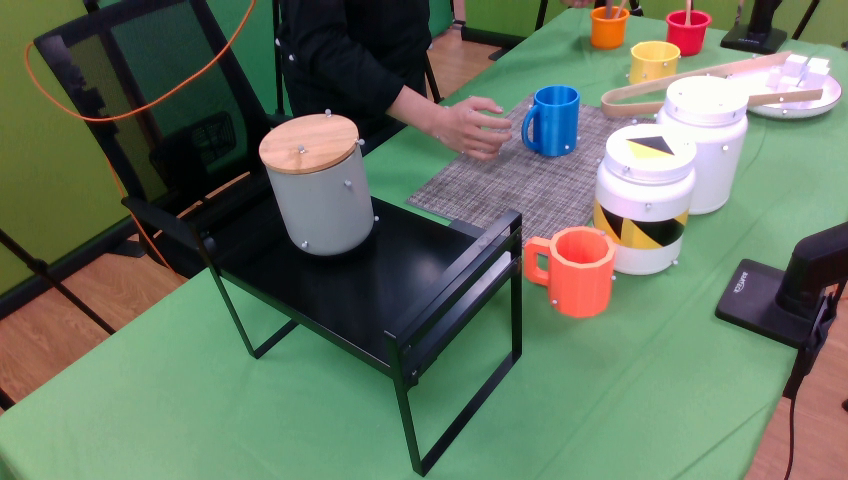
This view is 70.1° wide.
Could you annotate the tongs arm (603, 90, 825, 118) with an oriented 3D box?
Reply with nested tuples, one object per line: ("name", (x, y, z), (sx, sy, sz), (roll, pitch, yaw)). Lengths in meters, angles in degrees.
("tongs arm", (0.546, -0.262, 1.163), (0.386, 0.028, 0.028), (-1, 49, 18))

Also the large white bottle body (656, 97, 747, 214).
("large white bottle body", (0.431, -0.148, 0.959), (0.130, 0.185, 0.130), (-4, 41, 4))

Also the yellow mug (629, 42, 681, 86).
("yellow mug", (0.495, -0.389, 1.321), (0.100, 0.064, 0.130), (-14, 39, -6))

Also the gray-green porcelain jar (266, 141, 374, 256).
("gray-green porcelain jar", (-0.117, -0.054, 0.703), (0.106, 0.127, 0.105), (-4, 40, 4))

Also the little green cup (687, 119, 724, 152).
("little green cup", (0.514, -0.191, 1.109), (0.061, 0.039, 0.061), (-5, 40, 5))

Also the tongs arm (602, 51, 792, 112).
("tongs arm", (0.552, -0.320, 1.224), (0.384, 0.027, 0.050), (-10, 43, 7))

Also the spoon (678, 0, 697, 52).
("spoon", (0.614, -0.526, 1.402), (0.041, 0.022, 0.193), (3, 86, 11))

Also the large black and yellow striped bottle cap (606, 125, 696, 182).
("large black and yellow striped bottle cap", (0.305, -0.119, 0.816), (0.115, 0.019, 0.114), (-5, 41, 5))

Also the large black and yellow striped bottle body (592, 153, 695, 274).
("large black and yellow striped bottle body", (0.313, -0.056, 0.872), (0.131, 0.185, 0.130), (-4, 41, 4))

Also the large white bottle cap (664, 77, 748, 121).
("large white bottle cap", (0.421, -0.212, 0.905), (0.115, 0.018, 0.114), (-4, 40, 4))

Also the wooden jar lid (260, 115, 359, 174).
("wooden jar lid", (-0.124, -0.101, 0.662), (0.108, 0.021, 0.108), (-4, 41, 4))

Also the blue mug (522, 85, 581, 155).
("blue mug", (0.233, -0.218, 1.127), (0.117, 0.106, 0.081), (-23, 43, -16))

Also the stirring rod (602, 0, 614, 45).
("stirring rod", (0.449, -0.556, 1.464), (0.014, 0.006, 0.176), (8, 84, 14))

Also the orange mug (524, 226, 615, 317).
("orange mug", (0.201, 0.038, 0.845), (0.125, 0.101, 0.083), (18, 46, 21))

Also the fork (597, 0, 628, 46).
("fork", (0.478, -0.559, 1.456), (0.028, 0.019, 0.207), (34, 99, 34))

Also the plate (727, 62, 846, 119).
("plate", (0.709, -0.292, 1.197), (0.207, 0.039, 0.206), (-4, 40, 4))
